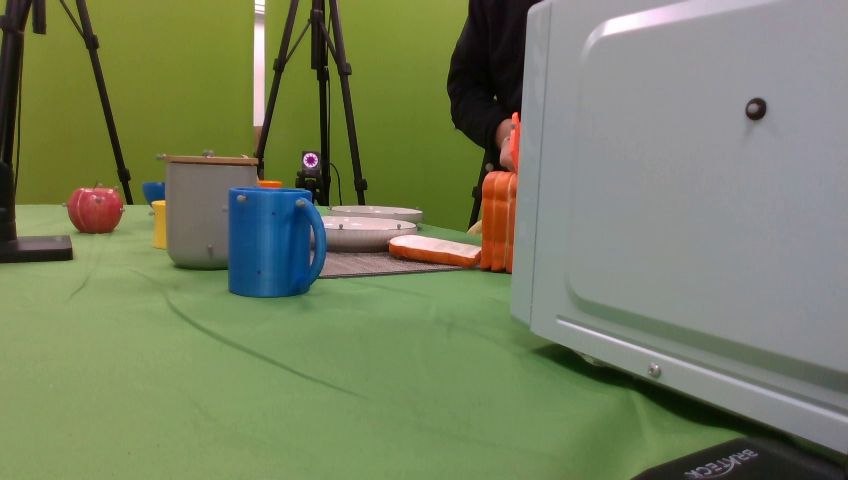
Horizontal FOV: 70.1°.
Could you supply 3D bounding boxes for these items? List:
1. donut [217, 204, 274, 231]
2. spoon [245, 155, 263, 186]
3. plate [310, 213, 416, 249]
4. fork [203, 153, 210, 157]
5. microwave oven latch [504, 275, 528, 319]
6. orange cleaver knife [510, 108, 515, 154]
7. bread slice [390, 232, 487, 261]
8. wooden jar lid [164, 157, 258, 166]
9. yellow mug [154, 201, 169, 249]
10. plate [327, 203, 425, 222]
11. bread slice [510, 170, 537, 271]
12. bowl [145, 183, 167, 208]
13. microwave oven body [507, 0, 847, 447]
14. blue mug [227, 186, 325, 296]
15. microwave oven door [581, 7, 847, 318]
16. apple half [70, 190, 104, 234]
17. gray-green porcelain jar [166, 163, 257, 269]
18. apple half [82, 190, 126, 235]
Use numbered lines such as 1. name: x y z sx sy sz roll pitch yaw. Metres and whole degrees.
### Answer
1. donut: -0.318 -0.038 1.080 0.099 0.048 0.099 3 7 0
2. spoon: -0.421 -0.150 1.540 0.042 0.021 0.193 -5 55 -37
3. plate: -0.116 -0.014 0.967 0.208 0.039 0.207 2 7 0
4. fork: -0.480 -0.134 1.411 0.028 0.018 0.207 1 -35 0
5. microwave oven latch: 0.100 0.041 0.470 0.079 0.029 0.030 -1 7 -27
6. orange cleaver knife: 0.143 -0.125 0.870 0.012 0.077 0.212 -1 -8 17
7. bread slice: 0.019 0.008 0.862 0.131 0.019 0.105 7 9 15
8. wooden jar lid: -0.261 -0.093 0.746 0.108 0.020 0.108 0 9 0
9. yellow mug: -0.338 -0.022 0.899 0.130 0.064 0.100 8 9 34
10. plate: -0.102 -0.053 1.299 0.209 0.038 0.209 2 8 0
11. bread slice: 0.135 -0.028 0.819 0.018 0.134 0.107 0 6 20
12. bowl: -0.459 -0.068 1.175 0.151 0.077 0.151 3 7 0
13. microwave oven body: 0.331 -0.042 0.425 0.444 0.260 0.324 -2 8 -31
14. blue mug: -0.146 0.000 0.618 0.116 0.106 0.083 7 9 32
15. microwave oven door: 0.295 -0.067 0.569 0.358 0.243 0.039 -3 8 -31
16. apple half: -0.552 -0.047 1.009 0.053 0.074 0.081 -1 9 26
17. gray-green porcelain jar: -0.263 -0.031 0.754 0.106 0.126 0.106 2 7 0
18. apple half: -0.516 -0.046 0.994 0.032 0.081 0.081 0 6 26
